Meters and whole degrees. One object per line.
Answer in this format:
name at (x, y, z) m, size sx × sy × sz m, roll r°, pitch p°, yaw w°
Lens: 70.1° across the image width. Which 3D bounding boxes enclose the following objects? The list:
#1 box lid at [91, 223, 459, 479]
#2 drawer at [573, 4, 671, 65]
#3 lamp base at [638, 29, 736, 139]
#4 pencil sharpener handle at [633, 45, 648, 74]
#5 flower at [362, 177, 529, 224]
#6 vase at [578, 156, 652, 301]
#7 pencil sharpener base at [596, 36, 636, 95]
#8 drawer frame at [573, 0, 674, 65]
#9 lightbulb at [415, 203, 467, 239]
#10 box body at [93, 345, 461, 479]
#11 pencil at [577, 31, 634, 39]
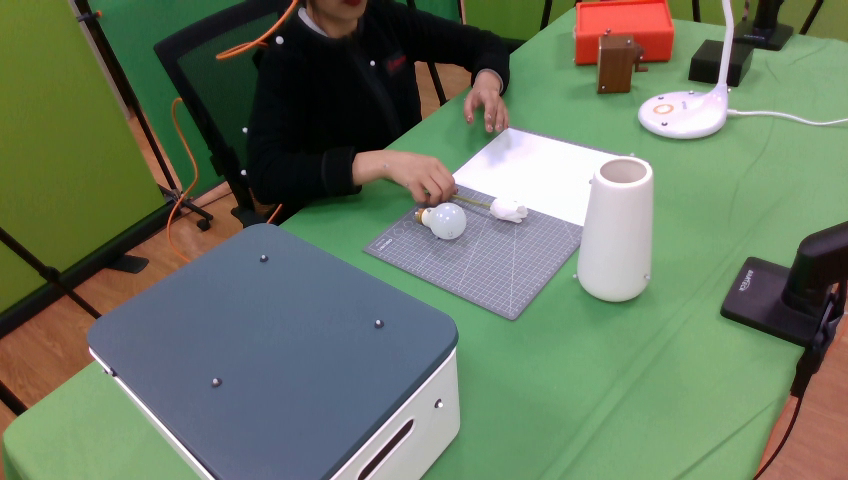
box lid at (-0.174, 0.102, 0.666) m, size 0.368 × 0.015 × 0.264 m, roll 24°, pitch 48°, yaw 35°
drawer at (0.461, -0.490, 1.435) m, size 0.211 × 0.073 × 0.194 m, roll 2°, pitch 41°, yaw 12°
lamp base at (0.501, -0.302, 1.125) m, size 0.179 × 0.181 × 0.160 m, roll -4°, pitch 40°, yaw 3°
pencil sharpener handle at (0.454, -0.378, 1.262) m, size 0.030 × 0.068 × 0.036 m, roll 1°, pitch 47°, yaw 13°
flower at (0.024, -0.083, 1.087) m, size 0.359 × 0.038 × 0.044 m, roll 15°, pitch 15°, yaw 33°
vase at (0.261, -0.011, 0.812) m, size 0.098 × 0.201 × 0.097 m, roll -4°, pitch 40°, yaw 4°
pencil sharpener base at (0.406, -0.369, 1.280) m, size 0.076 × 0.107 × 0.061 m, roll 1°, pitch 41°, yaw 13°
drawer frame at (0.464, -0.492, 1.434) m, size 0.213 × 0.083 × 0.201 m, roll 1°, pitch 40°, yaw 12°
lightbulb at (0.024, -0.034, 0.998) m, size 0.060 × 0.060 × 0.107 m, roll -38°, pitch 32°, yaw -30°
box body at (-0.162, 0.170, 0.708) m, size 0.361 × 0.161 × 0.255 m, roll 25°, pitch 50°, yaw 34°
pencil at (0.431, -0.488, 1.443) m, size 0.012 × 0.012 × 0.192 m, roll -25°, pitch 30°, yaw -18°
